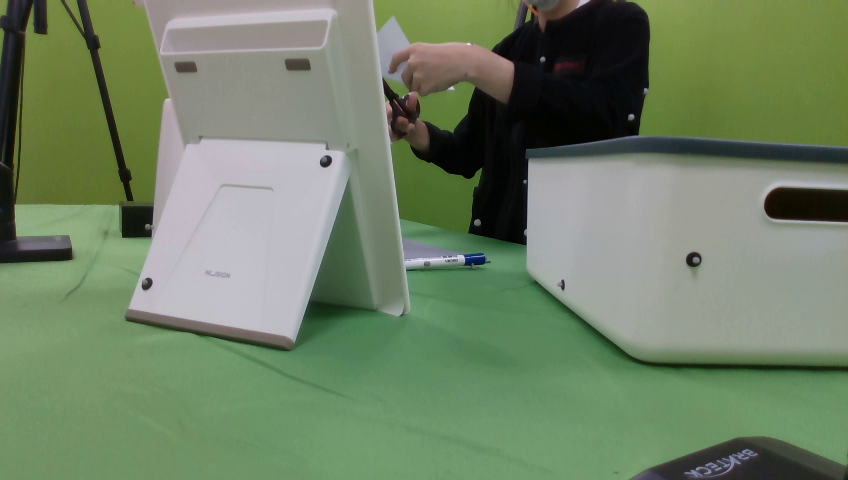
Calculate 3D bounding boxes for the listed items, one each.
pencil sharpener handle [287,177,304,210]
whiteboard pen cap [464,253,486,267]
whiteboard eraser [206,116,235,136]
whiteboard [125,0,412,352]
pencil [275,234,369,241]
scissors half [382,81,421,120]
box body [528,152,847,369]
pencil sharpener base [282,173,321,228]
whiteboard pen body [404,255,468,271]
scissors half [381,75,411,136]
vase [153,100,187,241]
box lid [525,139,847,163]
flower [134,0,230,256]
[{"bbox_3d":[-0.269,-0.096,1.257,0.036,0.067,0.030,-8,8,-27],"label":"pencil sharpener handle"},{"bbox_3d":[0.066,0.027,0.818,0.033,0.018,0.018,-5,10,-24],"label":"whiteboard pen cap"},{"bbox_3d":[-0.450,-0.252,1.335,0.056,0.042,0.112,1,7,-22],"label":"whiteboard eraser"},{"bbox_3d":[-0.151,-0.049,0.472,0.216,0.305,0.144,6,27,24],"label":"whiteboard"},{"bbox_3d":[-0.169,-0.006,1.036,0.195,0.012,0.012,-2,8,-45],"label":"pencil"},{"bbox_3d":[-0.050,-0.262,1.078,0.013,0.040,0.176,22,-1,31],"label":"scissors half"},{"bbox_3d":[0.258,-0.005,0.591,0.254,0.160,0.363,2,7,-4],"label":"box body"},{"bbox_3d":[-0.247,-0.080,1.212,0.061,0.107,0.076,-2,5,-28],"label":"pencil sharpener base"},{"bbox_3d":[0.013,0.030,0.792,0.141,0.017,0.017,-3,9,-24],"label":"whiteboard pen body"},{"bbox_3d":[-0.061,-0.244,1.074,0.012,0.040,0.176,28,-19,32],"label":"scissors half"},{"bbox_3d":[-0.278,-0.066,0.736,0.098,0.200,0.098,2,9,0],"label":"vase"},{"bbox_3d":[0.261,-0.078,0.580,0.264,0.015,0.371,2,7,-4],"label":"box lid"},{"bbox_3d":[-0.282,-0.147,0.713,0.038,0.362,0.044,-23,24,-31],"label":"flower"}]
